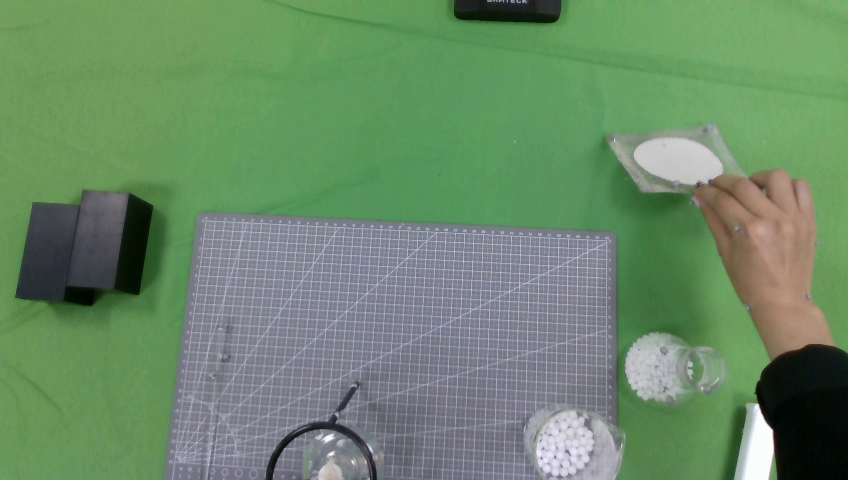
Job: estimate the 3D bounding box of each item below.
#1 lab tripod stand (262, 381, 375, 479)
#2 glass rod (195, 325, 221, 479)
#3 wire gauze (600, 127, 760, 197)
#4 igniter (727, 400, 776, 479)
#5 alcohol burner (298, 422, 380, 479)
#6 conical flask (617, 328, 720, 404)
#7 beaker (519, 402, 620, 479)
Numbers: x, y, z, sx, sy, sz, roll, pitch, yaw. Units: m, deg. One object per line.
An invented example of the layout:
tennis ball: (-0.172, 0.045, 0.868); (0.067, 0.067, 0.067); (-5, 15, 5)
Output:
lab tripod stand: (-0.084, 0.205, 0.543); (0.148, 0.132, 0.148); (0, 81, 2)
glass rod: (-0.221, 0.186, 0.614); (0.008, 0.008, 0.199); (4, 82, 3)
wire gauze: (0.256, -0.081, 0.617); (0.125, 0.011, 0.120); (-2, 39, -2)
igniter: (0.290, 0.290, 0.572); (0.057, 0.025, 0.275); (18, 80, -5)
alcohol burner: (-0.081, 0.207, 0.553); (0.078, 0.119, 0.077); (-1, 77, 4)
conical flask: (0.229, 0.116, 0.559); (0.075, 0.122, 0.075); (0, 78, 3)
beaker: (0.129, 0.186, 0.557); (0.084, 0.100, 0.073); (-20, 79, -2)
